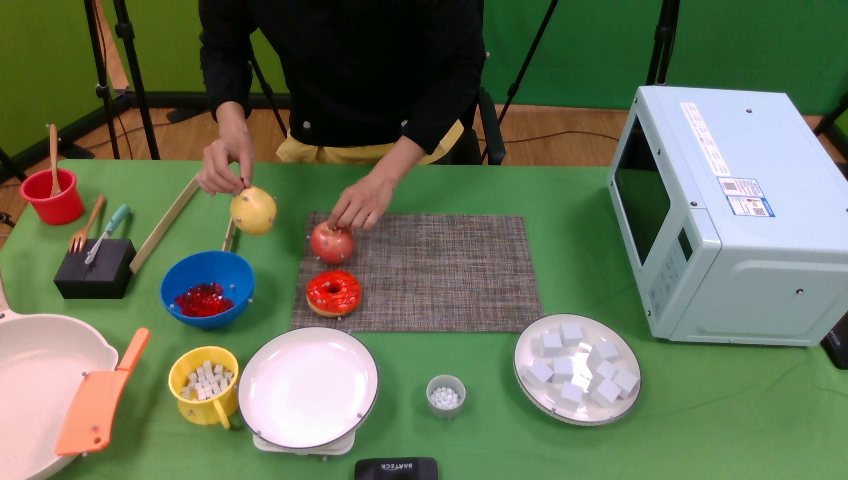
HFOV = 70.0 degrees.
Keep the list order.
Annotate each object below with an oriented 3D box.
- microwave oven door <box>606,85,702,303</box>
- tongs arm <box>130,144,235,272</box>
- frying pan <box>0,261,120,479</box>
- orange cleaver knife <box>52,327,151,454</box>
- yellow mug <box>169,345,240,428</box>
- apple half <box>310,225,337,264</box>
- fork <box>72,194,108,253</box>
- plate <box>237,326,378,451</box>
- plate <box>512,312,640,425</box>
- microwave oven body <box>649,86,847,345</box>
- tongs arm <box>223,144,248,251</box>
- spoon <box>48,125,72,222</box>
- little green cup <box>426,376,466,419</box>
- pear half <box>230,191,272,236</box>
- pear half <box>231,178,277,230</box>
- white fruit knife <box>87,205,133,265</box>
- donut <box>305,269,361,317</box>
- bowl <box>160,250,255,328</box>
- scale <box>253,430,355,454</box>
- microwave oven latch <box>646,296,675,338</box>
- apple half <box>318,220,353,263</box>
[{"bbox_3d":[0.422,-0.094,1.140,0.039,0.245,0.353,2,46,-1],"label":"microwave oven door"},{"bbox_3d":[-0.484,-0.079,1.233,0.028,0.028,0.385,7,44,11],"label":"tongs arm"},{"bbox_3d":[-0.647,0.164,0.936,0.307,0.103,0.485,-19,58,-22],"label":"frying pan"},{"bbox_3d":[-0.462,0.212,0.879,0.077,0.012,0.210,6,45,-1],"label":"orange cleaver knife"},{"bbox_3d":[-0.322,0.230,0.922,0.100,0.064,0.130,-24,53,-25],"label":"yellow mug"},{"bbox_3d":[-0.192,0.016,1.126,0.033,0.081,0.081,-26,53,-26],"label":"apple half"},{"bbox_3d":[-0.634,-0.036,1.158,0.028,0.019,0.206,-7,32,-8],"label":"fork"},{"bbox_3d":[-0.174,0.224,0.917,0.209,0.038,0.208,2,46,-2],"label":"plate"},{"bbox_3d":[0.246,0.213,0.999,0.208,0.039,0.206,2,46,-2],"label":"plate"},{"bbox_3d":[0.567,-0.053,1.118,0.326,0.261,0.439,2,45,-1],"label":"microwave oven body"},{"bbox_3d":[-0.398,-0.073,1.232,0.051,0.026,0.382,-1,45,-2],"label":"tongs arm"},{"bbox_3d":[-0.718,-0.131,1.189,0.041,0.021,0.193,-3,90,-7],"label":"spoon"},{"bbox_3d":[0.033,0.248,0.950,0.061,0.039,0.061,2,46,-2],"label":"little green cup"},{"bbox_3d":[-0.298,-0.039,1.032,0.070,0.088,0.031,-3,41,1],"label":"pear half"},{"bbox_3d":[-0.296,-0.070,1.051,0.076,0.110,0.055,0,43,1],"label":"pear half"},{"bbox_3d":[-0.584,-0.013,1.129,0.016,0.027,0.206,-1,31,-4],"label":"white fruit knife"},{"bbox_3d":[-0.160,0.094,1.075,0.099,0.048,0.098,3,46,-3],"label":"donut"},{"bbox_3d":[-0.362,0.098,1.039,0.151,0.077,0.150,2,45,-2],"label":"bowl"},{"bbox_3d":[-0.175,0.236,0.951,0.149,0.032,0.199,4,45,0],"label":"scale"},{"bbox_3d":[0.412,0.134,1.061,0.030,0.029,0.078,4,45,1],"label":"microwave oven latch"},{"bbox_3d":[-0.161,-0.001,1.143,0.053,0.075,0.080,-25,46,-25],"label":"apple half"}]
